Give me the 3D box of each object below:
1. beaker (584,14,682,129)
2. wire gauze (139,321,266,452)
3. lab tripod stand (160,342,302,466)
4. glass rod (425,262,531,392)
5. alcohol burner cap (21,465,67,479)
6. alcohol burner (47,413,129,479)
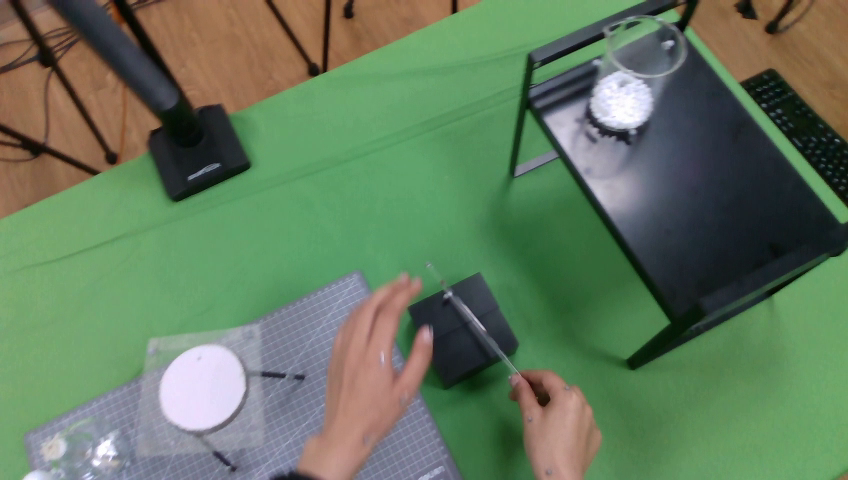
[{"bbox_3d":[0.205,-0.168,0.621,0.083,0.101,0.074,37,73,17],"label":"beaker"},{"bbox_3d":[-0.223,0.147,0.614,0.125,0.011,0.120,-6,68,0],"label":"wire gauze"},{"bbox_3d":[-0.218,0.170,0.677,0.148,0.132,0.147,-1,66,2],"label":"lab tripod stand"},{"bbox_3d":[0.059,0.096,0.699,0.008,0.008,0.198,-34,62,-11],"label":"glass rod"},{"bbox_3d":[-0.437,0.274,0.693,0.034,0.048,0.033,-1,68,3],"label":"alcohol burner cap"},{"bbox_3d":[-0.380,0.229,0.671,0.078,0.120,0.077,0,66,1],"label":"alcohol burner"}]
